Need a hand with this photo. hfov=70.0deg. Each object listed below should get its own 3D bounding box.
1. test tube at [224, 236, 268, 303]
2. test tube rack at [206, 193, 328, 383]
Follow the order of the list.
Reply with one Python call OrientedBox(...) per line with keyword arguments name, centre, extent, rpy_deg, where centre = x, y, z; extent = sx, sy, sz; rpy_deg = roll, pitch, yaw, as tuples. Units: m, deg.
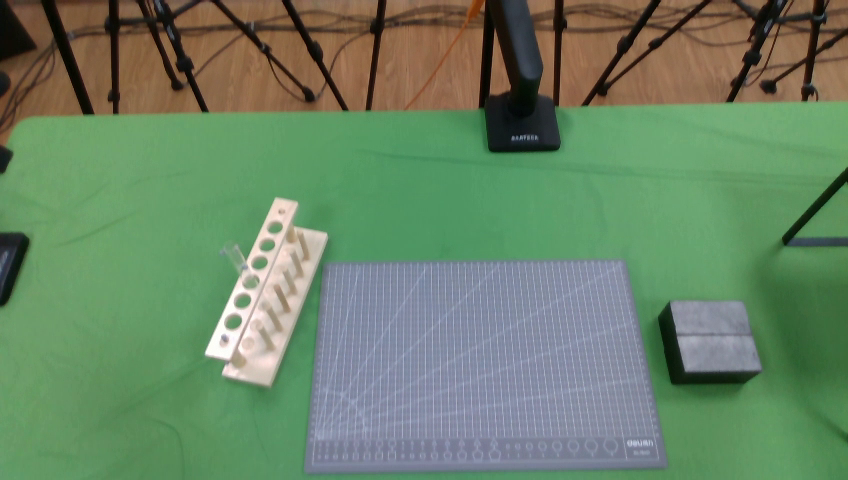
OrientedBox(name="test tube", centre=(-0.228, 0.042, 0.785), extent=(0.017, 0.151, 0.017), rpy_deg=(-1, 56, 3))
OrientedBox(name="test tube rack", centre=(-0.207, 0.062, 0.830), extent=(0.066, 0.086, 0.240), rpy_deg=(12, 60, 7))
